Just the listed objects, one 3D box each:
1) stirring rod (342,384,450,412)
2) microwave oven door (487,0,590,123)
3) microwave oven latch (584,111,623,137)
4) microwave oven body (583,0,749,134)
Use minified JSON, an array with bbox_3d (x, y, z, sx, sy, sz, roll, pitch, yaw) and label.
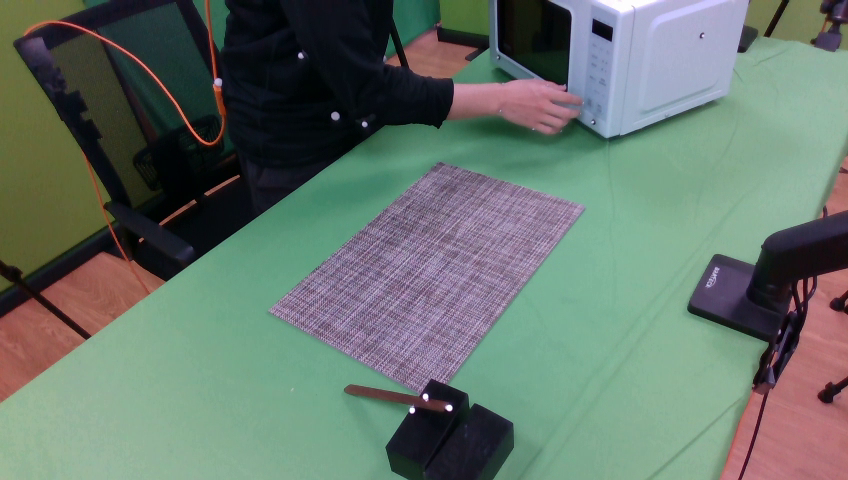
[{"bbox_3d":[-0.038,0.186,0.714,0.175,0.006,0.014,-3,22,43],"label":"stirring rod"},{"bbox_3d":[0.232,-0.420,1.231,0.039,0.245,0.352,-22,43,-16],"label":"microwave oven door"},{"bbox_3d":[0.337,-0.222,1.142,0.030,0.029,0.078,-21,42,-14],"label":"microwave oven latch"},{"bbox_3d":[0.382,-0.444,1.246,0.327,0.261,0.437,-22,42,-16],"label":"microwave oven body"}]
